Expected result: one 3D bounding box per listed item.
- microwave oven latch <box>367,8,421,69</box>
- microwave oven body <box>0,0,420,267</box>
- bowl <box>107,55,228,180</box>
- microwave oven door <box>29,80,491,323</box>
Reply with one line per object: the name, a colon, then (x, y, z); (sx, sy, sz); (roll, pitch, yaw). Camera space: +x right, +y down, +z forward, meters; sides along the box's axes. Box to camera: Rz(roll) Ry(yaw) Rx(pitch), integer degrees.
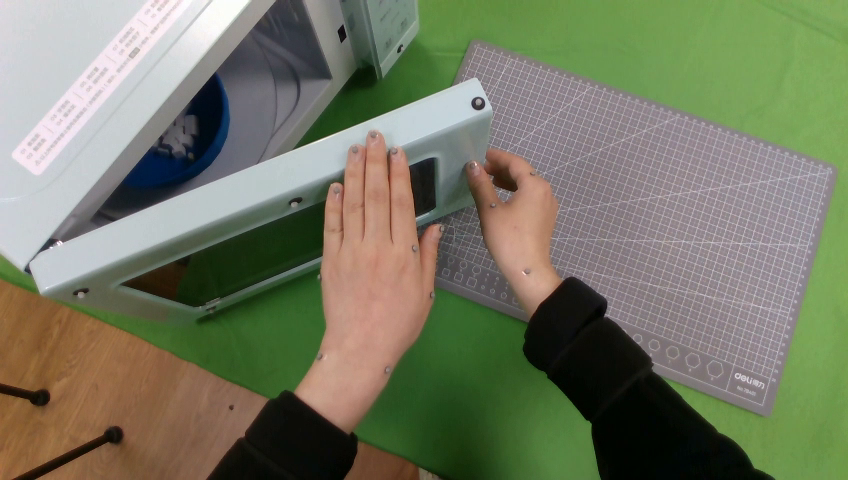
microwave oven latch: (-0.035, -0.240, 0.704); (0.030, 0.029, 0.079); (38, 82, 8)
microwave oven body: (-0.262, -0.205, 0.603); (0.325, 0.261, 0.441); (35, 82, 8)
bowl: (-0.264, -0.122, 0.617); (0.151, 0.077, 0.150); (-1, 75, 3)
microwave oven door: (-0.113, -0.018, 0.555); (0.356, 0.245, 0.039); (-23, 77, -4)
